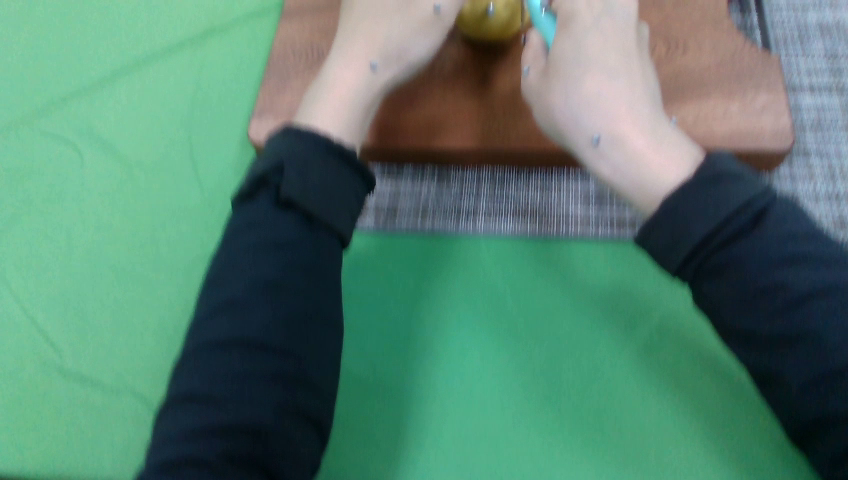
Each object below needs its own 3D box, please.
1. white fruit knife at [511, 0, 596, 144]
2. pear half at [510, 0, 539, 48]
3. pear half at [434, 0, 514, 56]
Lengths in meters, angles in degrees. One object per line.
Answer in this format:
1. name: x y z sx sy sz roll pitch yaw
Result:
1. white fruit knife: 0.073 -0.153 0.434 0.016 0.028 0.205 -20 61 -2
2. pear half: 0.071 -0.194 0.468 0.031 0.089 0.069 -21 57 -8
3. pear half: 0.034 -0.189 0.457 0.056 0.111 0.075 -24 60 -4
